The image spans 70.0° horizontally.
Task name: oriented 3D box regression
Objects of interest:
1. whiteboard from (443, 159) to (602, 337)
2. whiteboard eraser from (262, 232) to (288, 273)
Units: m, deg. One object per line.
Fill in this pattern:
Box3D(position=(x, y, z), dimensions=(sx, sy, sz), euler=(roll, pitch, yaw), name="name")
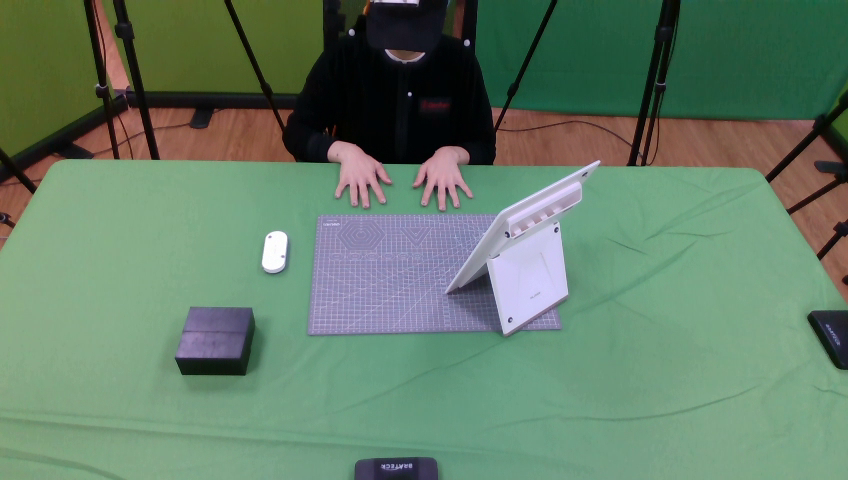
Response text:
Box3D(position=(0.193, 0.037, 1.018), dimensions=(0.217, 0.306, 0.143), euler=(-26, 72, -26), name="whiteboard")
Box3D(position=(-0.285, 0.023, 1.158), dimensions=(0.041, 0.019, 0.100), euler=(-2, 45, -4), name="whiteboard eraser")
